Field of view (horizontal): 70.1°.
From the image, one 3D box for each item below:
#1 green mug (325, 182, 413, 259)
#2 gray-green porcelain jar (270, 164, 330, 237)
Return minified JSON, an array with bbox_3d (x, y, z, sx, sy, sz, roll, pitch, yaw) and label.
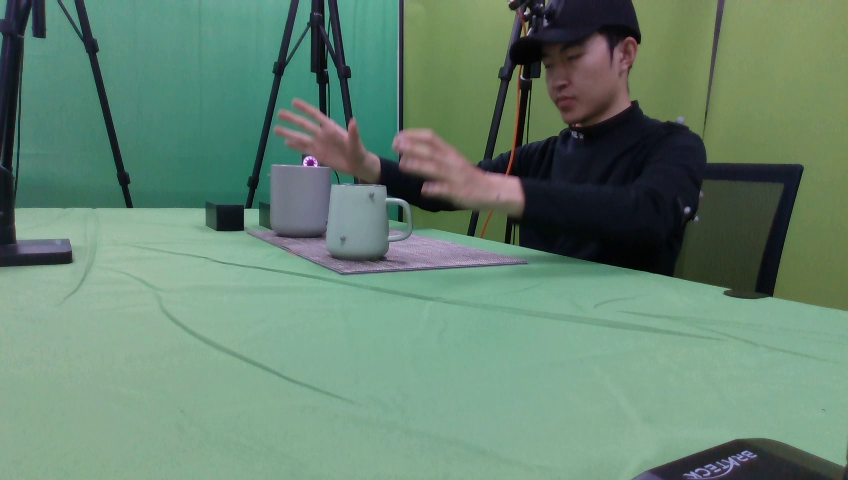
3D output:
[{"bbox_3d":[-0.078,-0.029,0.868,0.125,0.105,0.092,2,7,4],"label":"green mug"},{"bbox_3d":[-0.223,-0.073,1.091,0.106,0.126,0.106,2,8,0],"label":"gray-green porcelain jar"}]
